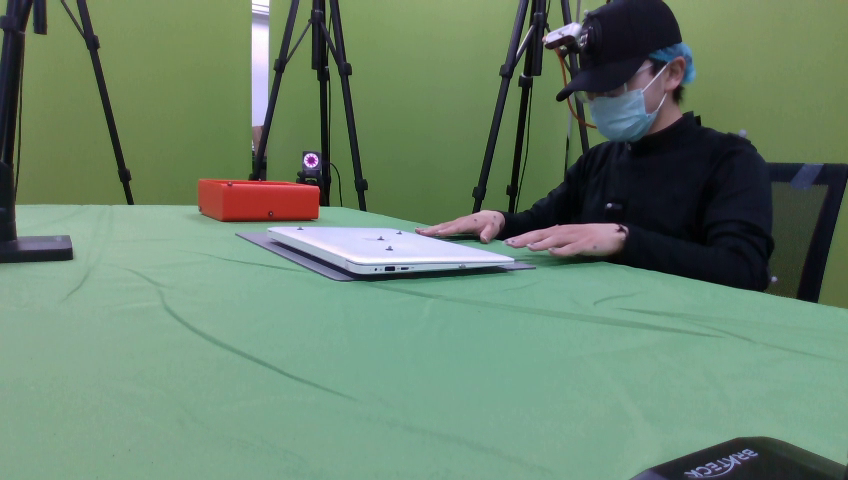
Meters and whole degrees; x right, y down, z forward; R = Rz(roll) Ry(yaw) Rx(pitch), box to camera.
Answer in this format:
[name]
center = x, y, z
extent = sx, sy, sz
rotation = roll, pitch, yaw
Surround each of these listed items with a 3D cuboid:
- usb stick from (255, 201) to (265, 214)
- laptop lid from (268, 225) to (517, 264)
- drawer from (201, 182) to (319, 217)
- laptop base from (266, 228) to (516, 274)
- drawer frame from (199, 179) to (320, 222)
[usb stick]
center = -0.368, -0.074, 1.360
extent = 0.021, 0.027, 0.059
rotation = 1, 8, -16
[laptop lid]
center = -0.063, 0.002, 0.877
extent = 0.243, 0.013, 0.355
rotation = 1, 7, -30
[drawer]
center = -0.369, -0.092, 1.358
extent = 0.213, 0.073, 0.193
rotation = -3, 10, -34
[laptop base]
center = -0.066, 0.014, 0.877
extent = 0.237, 0.023, 0.352
rotation = 2, 6, -32
[drawer frame]
center = -0.370, -0.093, 1.356
extent = 0.215, 0.082, 0.200
rotation = -4, 10, -34
